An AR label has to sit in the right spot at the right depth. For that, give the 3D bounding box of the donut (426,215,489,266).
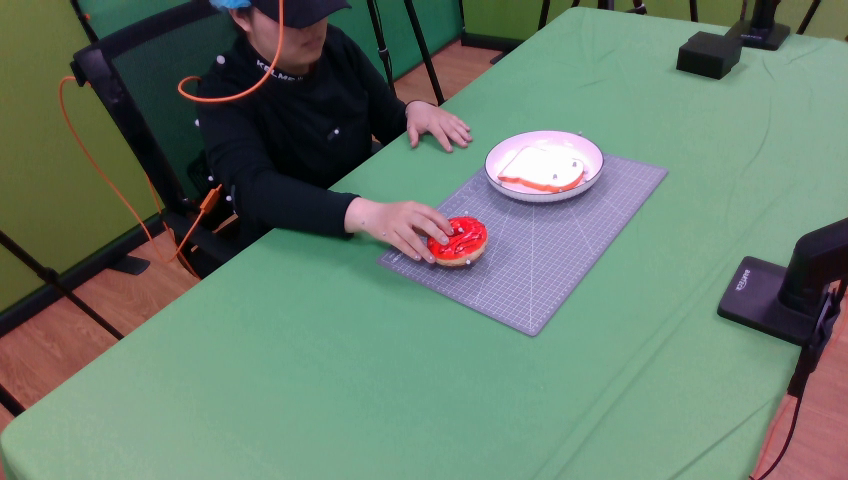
[{"bbox_3d":[0.051,0.000,0.930,0.099,0.048,0.098,-11,37,9],"label":"donut"}]

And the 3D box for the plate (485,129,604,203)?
[{"bbox_3d":[0.213,-0.129,1.079,0.209,0.038,0.208,-5,40,5],"label":"plate"}]

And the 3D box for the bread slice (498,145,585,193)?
[{"bbox_3d":[0.216,-0.125,1.076,0.133,0.018,0.107,16,47,28],"label":"bread slice"}]
